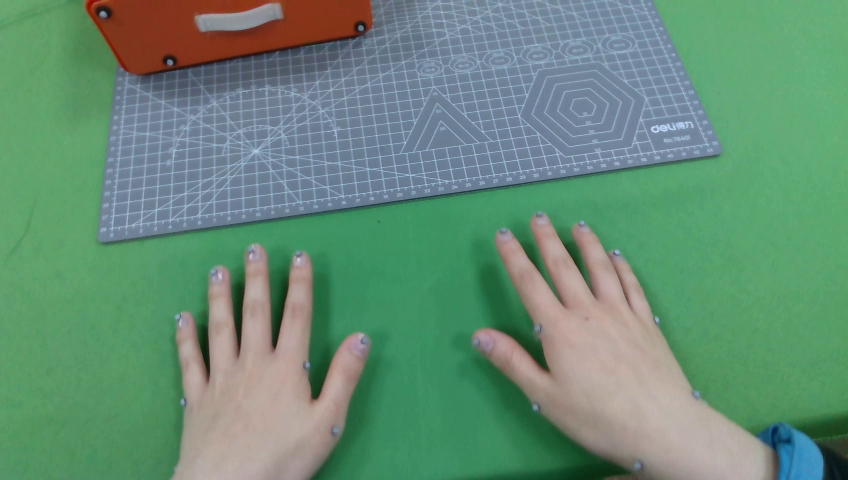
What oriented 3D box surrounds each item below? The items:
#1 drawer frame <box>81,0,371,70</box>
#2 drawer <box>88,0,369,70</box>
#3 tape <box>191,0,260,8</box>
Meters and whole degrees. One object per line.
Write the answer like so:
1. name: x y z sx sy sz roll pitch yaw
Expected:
1. drawer frame: -0.164 -0.257 0.502 0.202 0.083 0.211 -13 62 -6
2. drawer: -0.162 -0.254 0.502 0.195 0.074 0.209 -13 62 -5
3. tape: -0.164 -0.256 0.510 0.117 0.053 0.116 0 64 0
